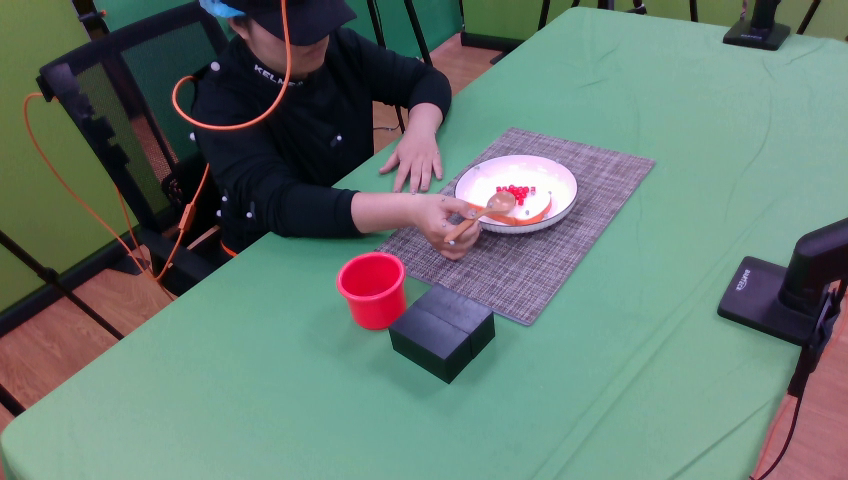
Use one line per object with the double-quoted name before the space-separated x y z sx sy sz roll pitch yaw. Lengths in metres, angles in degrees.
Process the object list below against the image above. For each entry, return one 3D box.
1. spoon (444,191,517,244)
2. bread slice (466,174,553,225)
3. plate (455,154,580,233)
"spoon" 0.086 -0.037 0.927 0.041 0.021 0.195 32 36 22
"bread slice" 0.152 -0.067 1.023 0.130 0.019 0.105 22 50 34
"plate" 0.159 -0.076 1.028 0.209 0.038 0.208 -5 40 5
